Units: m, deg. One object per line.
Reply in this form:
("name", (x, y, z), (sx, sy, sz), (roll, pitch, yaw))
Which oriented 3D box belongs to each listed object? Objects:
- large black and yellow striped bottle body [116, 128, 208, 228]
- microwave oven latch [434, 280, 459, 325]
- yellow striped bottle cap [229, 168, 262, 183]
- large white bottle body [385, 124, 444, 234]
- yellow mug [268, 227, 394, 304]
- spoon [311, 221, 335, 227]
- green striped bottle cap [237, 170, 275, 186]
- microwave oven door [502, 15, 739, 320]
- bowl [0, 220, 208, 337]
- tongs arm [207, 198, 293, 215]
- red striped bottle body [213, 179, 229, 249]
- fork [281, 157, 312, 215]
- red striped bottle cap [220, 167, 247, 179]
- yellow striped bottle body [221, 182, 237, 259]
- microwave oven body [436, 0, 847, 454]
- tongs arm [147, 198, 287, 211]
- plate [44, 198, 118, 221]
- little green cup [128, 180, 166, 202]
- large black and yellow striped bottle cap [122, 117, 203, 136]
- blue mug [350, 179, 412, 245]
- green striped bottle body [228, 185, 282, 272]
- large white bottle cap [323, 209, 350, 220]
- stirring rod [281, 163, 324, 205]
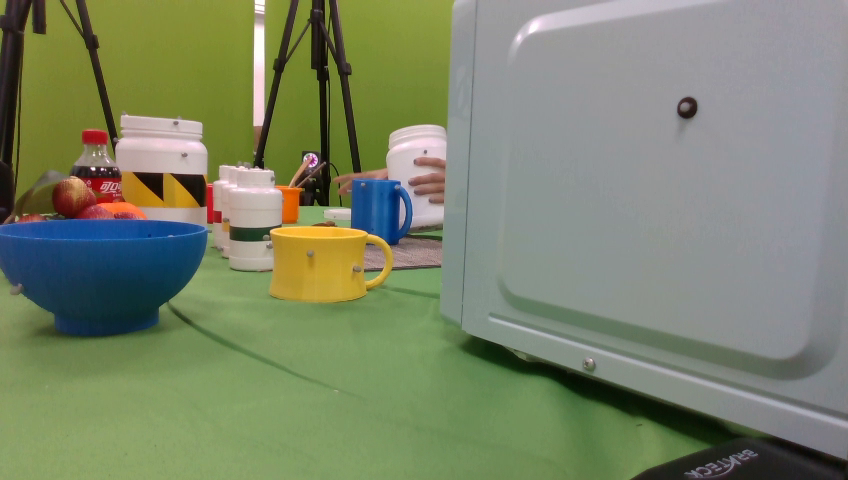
("large black and yellow striped bottle body", (-0.404, -0.089, 0.937), (0.131, 0.184, 0.130), (3, 7, 0))
("microwave oven latch", (0.044, 0.045, 0.470), (0.079, 0.029, 0.030), (-2, 8, -39))
("yellow striped bottle cap", (-0.240, -0.087, 0.816), (0.044, 0.018, 0.044), (-2, 5, 1))
("large white bottle body", (-0.003, -0.111, 1.129), (0.131, 0.184, 0.130), (-7, -5, 0))
("yellow mug", (-0.094, 0.023, 0.629), (0.131, 0.064, 0.099), (0, 7, -22))
("spoon", (-0.185, -0.027, 1.131), (0.041, 0.021, 0.193), (-18, 7, 2))
("green striped bottle cap", (-0.205, -0.075, 0.737), (0.044, 0.020, 0.044), (1, 6, 0))
("microwave oven door", (0.217, -0.065, 0.601), (0.358, 0.243, 0.039), (-4, 10, -41))
("bowl", (-0.251, 0.029, 0.479), (0.151, 0.077, 0.151), (2, 7, 0))
("tongs arm", (-0.423, -0.084, 1.472), (0.050, 0.026, 0.386), (2, 6, 21))
("red striped bottle body", (-0.284, -0.048, 0.909), (0.063, 0.119, 0.063), (3, 10, 0))
("fork", (-0.290, -0.116, 1.321), (0.028, 0.018, 0.207), (7, 52, 18))
("red striped bottle cap", (-0.281, -0.099, 0.901), (0.044, 0.017, 0.044), (-1, 5, 0))
("yellow striped bottle body", (-0.244, -0.035, 0.824), (0.063, 0.120, 0.063), (2, 8, 0))
("microwave oven body", (0.279, -0.040, 0.464), (0.444, 0.260, 0.324), (-3, 9, -41))
("tongs arm", (-0.504, -0.091, 1.513), (0.028, 0.028, 0.389), (-1, 4, 38))
("plate", (-0.617, -0.056, 1.179), (0.209, 0.038, 0.209), (3, 7, 0))
("little green cup", (-0.485, -0.087, 1.062), (0.061, 0.038, 0.061), (-1, 6, 0))
("large black and yellow striped bottle cap", (-0.399, -0.174, 0.927), (0.115, 0.019, 0.115), (5, 9, -1))
("blue mug", (-0.068, -0.046, 1.000), (0.116, 0.106, 0.083), (7, 9, 32))
("green striped bottle body", (-0.208, -0.023, 0.745), (0.063, 0.119, 0.063), (2, 7, 0))
("large white bottle cap", (-0.184, -0.061, 1.450), (0.115, 0.018, 0.115), (2, 8, 0))
("stirring rod", (-0.278, -0.105, 1.293), (0.176, 0.006, 0.014), (-47, 25, -18))
